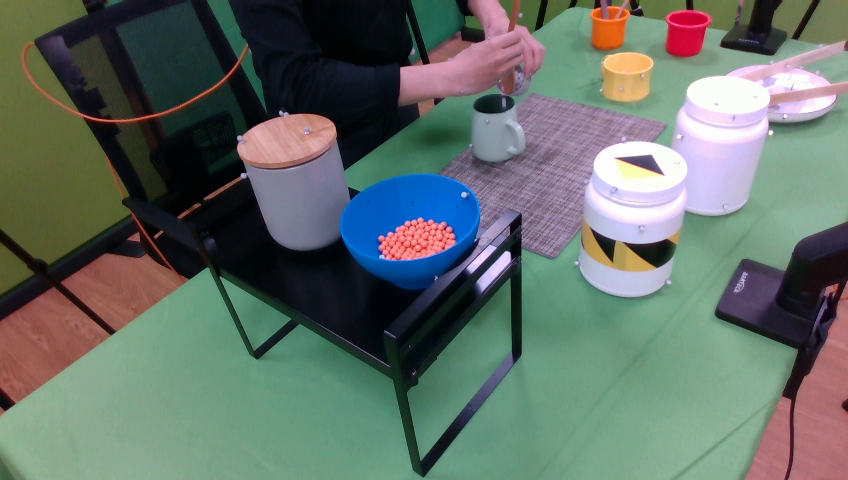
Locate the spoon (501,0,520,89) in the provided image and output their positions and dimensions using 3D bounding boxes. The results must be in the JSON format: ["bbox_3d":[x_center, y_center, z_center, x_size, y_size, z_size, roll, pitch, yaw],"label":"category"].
[{"bbox_3d":[0.147,-0.325,1.021,0.022,0.194,0.041,-20,62,-6],"label":"spoon"}]

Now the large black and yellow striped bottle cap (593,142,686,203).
[{"bbox_3d":[0.280,-0.090,0.786,0.115,0.019,0.114,-5,41,5],"label":"large black and yellow striped bottle cap"}]

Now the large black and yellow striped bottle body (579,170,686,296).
[{"bbox_3d":[0.287,-0.027,0.842,0.131,0.185,0.130,-4,41,4],"label":"large black and yellow striped bottle body"}]

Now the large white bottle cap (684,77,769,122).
[{"bbox_3d":[0.448,-0.209,0.898,0.115,0.018,0.114,-4,40,4],"label":"large white bottle cap"}]

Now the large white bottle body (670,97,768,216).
[{"bbox_3d":[0.458,-0.146,0.952,0.130,0.185,0.130,-4,40,4],"label":"large white bottle body"}]

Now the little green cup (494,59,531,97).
[{"bbox_3d":[0.162,-0.291,1.097,0.061,0.039,0.061,-25,55,41],"label":"little green cup"}]

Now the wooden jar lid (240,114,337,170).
[{"bbox_3d":[-0.149,-0.106,0.673,0.108,0.021,0.108,-6,38,5],"label":"wooden jar lid"}]

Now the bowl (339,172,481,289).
[{"bbox_3d":[-0.011,0.001,0.660,0.151,0.077,0.150,-5,41,5],"label":"bowl"}]

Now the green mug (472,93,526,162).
[{"bbox_3d":[0.144,-0.202,1.122,0.093,0.105,0.124,-29,45,-23],"label":"green mug"}]

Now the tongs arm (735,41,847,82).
[{"bbox_3d":[0.712,-0.332,1.194,0.386,0.026,0.050,-19,45,-16],"label":"tongs arm"}]

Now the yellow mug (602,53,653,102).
[{"bbox_3d":[0.423,-0.354,1.292,0.100,0.064,0.129,-23,42,-16],"label":"yellow mug"}]

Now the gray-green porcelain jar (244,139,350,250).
[{"bbox_3d":[-0.143,-0.060,0.714,0.106,0.127,0.105,-4,41,4],"label":"gray-green porcelain jar"}]

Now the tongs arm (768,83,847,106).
[{"bbox_3d":[0.738,-0.281,1.134,0.388,0.028,0.028,-9,47,-5],"label":"tongs arm"}]

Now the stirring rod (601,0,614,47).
[{"bbox_3d":[0.439,-0.552,1.463,0.014,0.006,0.175,-7,83,3],"label":"stirring rod"}]

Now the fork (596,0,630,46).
[{"bbox_3d":[0.481,-0.556,1.452,0.028,0.019,0.207,40,103,39],"label":"fork"}]

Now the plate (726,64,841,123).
[{"bbox_3d":[0.695,-0.282,1.189,0.207,0.039,0.206,-4,40,4],"label":"plate"}]
